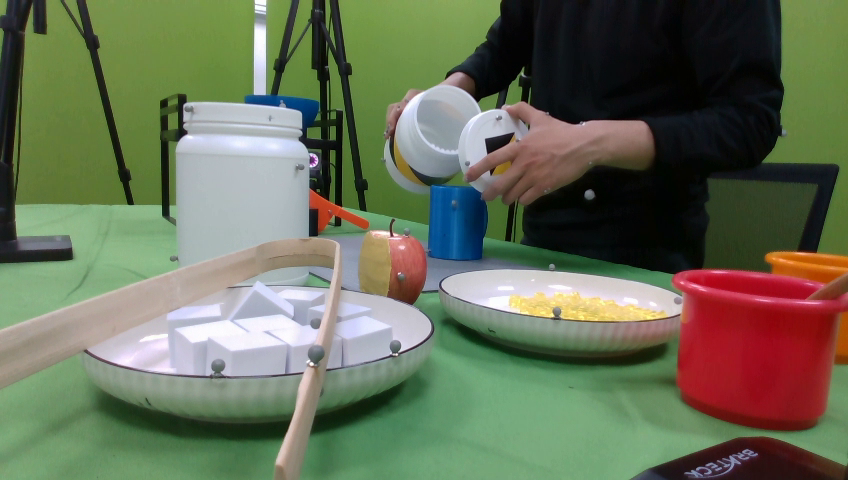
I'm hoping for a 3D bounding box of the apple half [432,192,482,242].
[{"bbox_3d":[0.049,-0.037,0.906,0.081,0.081,0.033,2,15,-1],"label":"apple half"}]

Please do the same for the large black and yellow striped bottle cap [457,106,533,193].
[{"bbox_3d":[0.097,-0.120,0.806,0.115,0.115,0.018,-2,1,-29],"label":"large black and yellow striped bottle cap"}]

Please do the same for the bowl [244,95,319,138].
[{"bbox_3d":[-0.293,-0.251,1.249,0.151,0.077,0.151,2,7,0],"label":"bowl"}]

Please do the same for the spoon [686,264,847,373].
[{"bbox_3d":[0.214,0.032,0.328,0.042,0.021,0.193,-3,-35,-26],"label":"spoon"}]

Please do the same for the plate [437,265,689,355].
[{"bbox_3d":[0.114,0.057,0.517,0.209,0.038,0.209,3,8,0],"label":"plate"}]

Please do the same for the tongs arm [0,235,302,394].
[{"bbox_3d":[-0.157,0.038,0.351,0.028,0.028,0.388,-3,8,12],"label":"tongs arm"}]

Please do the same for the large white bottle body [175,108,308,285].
[{"bbox_3d":[-0.187,-0.042,0.630,0.131,0.184,0.130,2,8,0],"label":"large white bottle body"}]

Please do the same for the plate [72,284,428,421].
[{"bbox_3d":[-0.102,0.066,0.381,0.208,0.039,0.207,2,7,0],"label":"plate"}]

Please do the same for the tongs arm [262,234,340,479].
[{"bbox_3d":[-0.074,0.039,0.349,0.051,0.026,0.384,-2,10,-3],"label":"tongs arm"}]

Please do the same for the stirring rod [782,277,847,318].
[{"bbox_3d":[0.344,0.019,0.461,0.014,0.006,0.176,-13,-27,-30],"label":"stirring rod"}]

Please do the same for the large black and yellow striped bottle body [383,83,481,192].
[{"bbox_3d":[0.014,-0.162,0.967,0.131,0.130,0.183,0,-12,-15],"label":"large black and yellow striped bottle body"}]

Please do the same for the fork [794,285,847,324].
[{"bbox_3d":[0.332,0.018,0.443,0.028,0.018,0.207,-1,-36,-15],"label":"fork"}]

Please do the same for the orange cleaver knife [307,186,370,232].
[{"bbox_3d":[-0.197,-0.056,1.141,0.212,0.077,0.012,29,0,-35],"label":"orange cleaver knife"}]

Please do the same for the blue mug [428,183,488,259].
[{"bbox_3d":[0.059,-0.031,0.907,0.082,0.106,0.117,9,10,42],"label":"blue mug"}]

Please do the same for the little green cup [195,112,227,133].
[{"bbox_3d":[-0.412,-0.227,1.171,0.061,0.038,0.061,3,8,0],"label":"little green cup"}]

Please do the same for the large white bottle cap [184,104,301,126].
[{"bbox_3d":[-0.184,-0.126,0.618,0.115,0.018,0.115,2,8,0],"label":"large white bottle cap"}]

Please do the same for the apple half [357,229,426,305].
[{"bbox_3d":[-0.026,0.028,0.570,0.053,0.074,0.080,3,2,-28],"label":"apple half"}]
